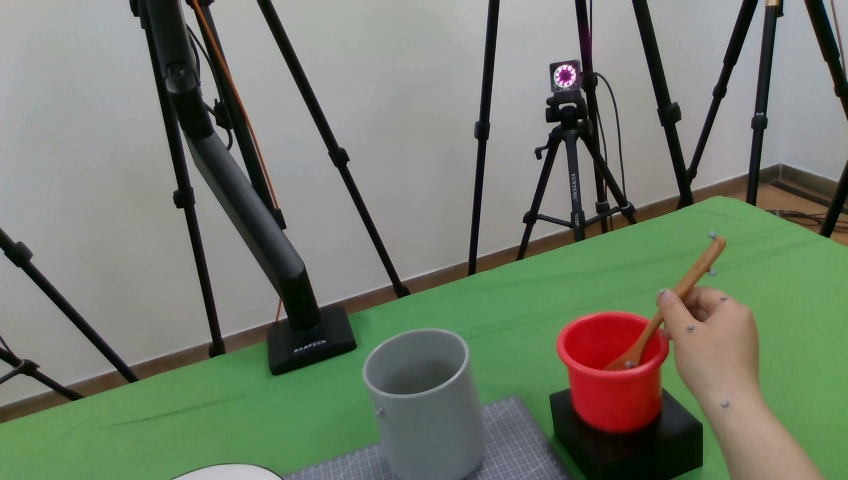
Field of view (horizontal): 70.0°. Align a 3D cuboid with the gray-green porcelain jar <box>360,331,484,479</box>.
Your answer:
[{"bbox_3d":[0.002,0.171,0.599,0.106,0.127,0.105,-10,25,5],"label":"gray-green porcelain jar"}]

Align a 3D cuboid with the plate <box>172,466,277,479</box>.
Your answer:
[{"bbox_3d":[-0.213,0.294,0.541,0.207,0.039,0.206,-9,25,5],"label":"plate"}]

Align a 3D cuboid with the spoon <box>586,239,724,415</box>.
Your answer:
[{"bbox_3d":[0.205,0.080,0.541,0.022,0.194,0.041,15,24,-29],"label":"spoon"}]
